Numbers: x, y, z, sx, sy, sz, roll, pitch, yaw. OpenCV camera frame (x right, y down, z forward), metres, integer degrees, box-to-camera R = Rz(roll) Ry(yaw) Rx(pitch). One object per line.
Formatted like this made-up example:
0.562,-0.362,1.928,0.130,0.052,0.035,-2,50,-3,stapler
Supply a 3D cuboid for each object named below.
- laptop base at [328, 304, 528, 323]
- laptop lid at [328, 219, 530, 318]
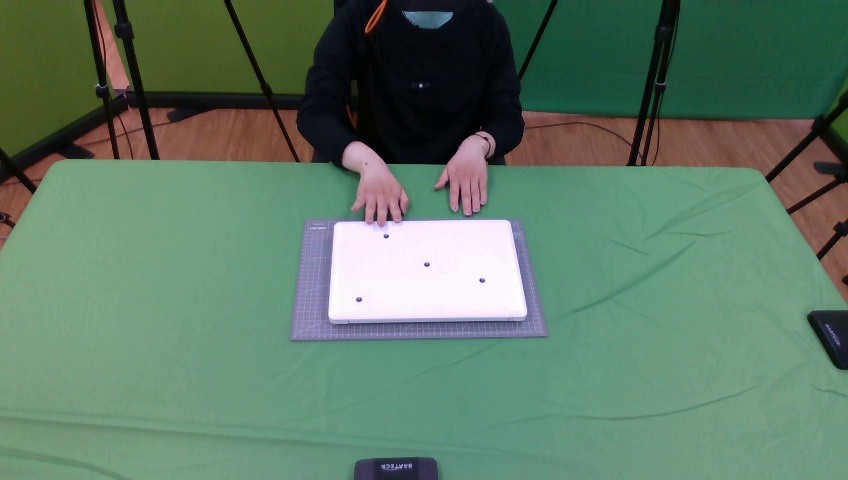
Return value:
0.005,0.061,1.137,0.355,0.023,0.234,0,43,-4,laptop base
0.006,0.046,1.122,0.357,0.013,0.240,1,48,-3,laptop lid
